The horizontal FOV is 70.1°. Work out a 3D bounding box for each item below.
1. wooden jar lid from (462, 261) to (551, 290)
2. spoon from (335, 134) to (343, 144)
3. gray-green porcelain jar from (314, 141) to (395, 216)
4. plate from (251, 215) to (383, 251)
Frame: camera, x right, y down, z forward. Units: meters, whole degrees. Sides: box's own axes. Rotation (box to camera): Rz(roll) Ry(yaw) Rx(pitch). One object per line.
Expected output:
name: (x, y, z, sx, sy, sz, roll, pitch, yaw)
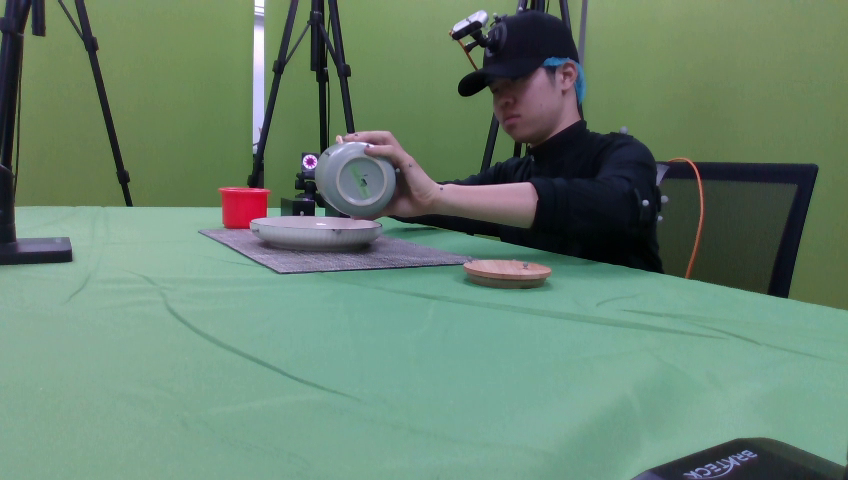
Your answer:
wooden jar lid: (0.100, 0.043, 0.742, 0.108, 0.020, 0.108, 2, 6, 0)
spoon: (-0.120, -0.107, 0.932, 0.042, 0.021, 0.193, 2, 38, -22)
gray-green porcelain jar: (-0.102, -0.090, 0.877, 0.106, 0.106, 0.126, 1, 8, -16)
plate: (-0.170, -0.012, 0.971, 0.208, 0.039, 0.207, 2, 7, 0)
